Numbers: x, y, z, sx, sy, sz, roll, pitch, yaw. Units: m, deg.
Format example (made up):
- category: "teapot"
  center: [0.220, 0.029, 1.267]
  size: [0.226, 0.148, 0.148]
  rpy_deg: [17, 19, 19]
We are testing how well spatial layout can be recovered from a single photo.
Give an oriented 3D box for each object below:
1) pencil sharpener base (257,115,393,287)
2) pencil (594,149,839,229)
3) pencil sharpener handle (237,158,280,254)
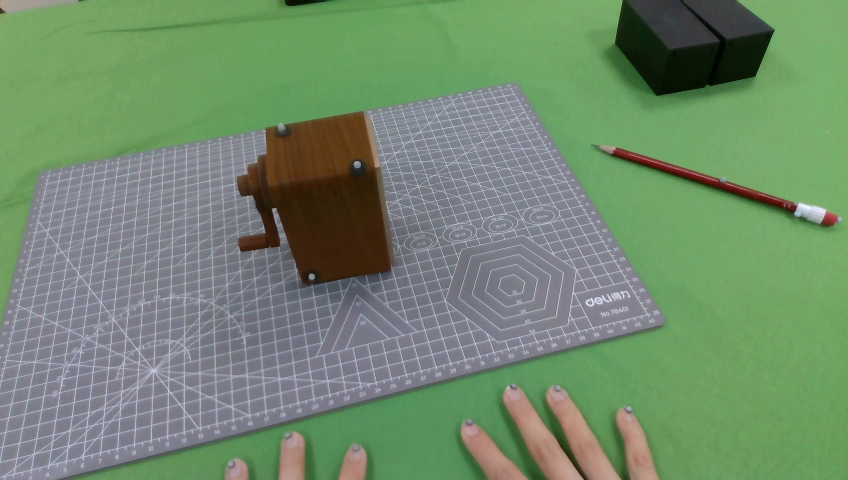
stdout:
- category: "pencil sharpener base"
  center: [-0.067, -0.024, 0.426]
  size: [0.077, 0.108, 0.060]
  rpy_deg: [-10, 49, -5]
- category: "pencil"
  center: [0.232, -0.046, 0.498]
  size: [0.193, 0.012, 0.012]
  rpy_deg: [23, 54, 23]
- category: "pencil sharpener handle"
  center: [-0.117, -0.020, 0.408]
  size: [0.031, 0.068, 0.035]
  rpy_deg: [-10, 32, -5]
